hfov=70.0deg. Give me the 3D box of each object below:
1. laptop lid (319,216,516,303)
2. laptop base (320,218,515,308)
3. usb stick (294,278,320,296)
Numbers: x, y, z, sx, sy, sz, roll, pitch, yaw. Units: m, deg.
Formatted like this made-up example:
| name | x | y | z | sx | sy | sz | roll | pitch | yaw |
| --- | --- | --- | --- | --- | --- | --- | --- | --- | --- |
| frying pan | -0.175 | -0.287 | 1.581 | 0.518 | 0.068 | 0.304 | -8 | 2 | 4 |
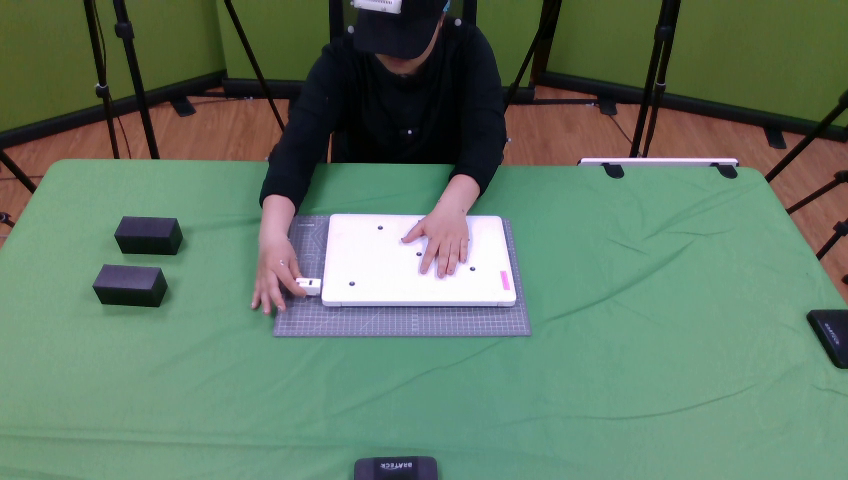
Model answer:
| name | x | y | z | sx | sy | sz | roll | pitch | yaw |
| --- | --- | --- | --- | --- | --- | --- | --- | --- | --- |
| laptop lid | -0.013 | 0.031 | 1.155 | 0.357 | 0.013 | 0.240 | 2 | 43 | -3 |
| laptop base | -0.013 | 0.039 | 1.160 | 0.355 | 0.023 | 0.234 | 0 | 42 | -4 |
| usb stick | -0.201 | 0.084 | 1.082 | 0.059 | 0.027 | 0.021 | 8 | 49 | -8 |
